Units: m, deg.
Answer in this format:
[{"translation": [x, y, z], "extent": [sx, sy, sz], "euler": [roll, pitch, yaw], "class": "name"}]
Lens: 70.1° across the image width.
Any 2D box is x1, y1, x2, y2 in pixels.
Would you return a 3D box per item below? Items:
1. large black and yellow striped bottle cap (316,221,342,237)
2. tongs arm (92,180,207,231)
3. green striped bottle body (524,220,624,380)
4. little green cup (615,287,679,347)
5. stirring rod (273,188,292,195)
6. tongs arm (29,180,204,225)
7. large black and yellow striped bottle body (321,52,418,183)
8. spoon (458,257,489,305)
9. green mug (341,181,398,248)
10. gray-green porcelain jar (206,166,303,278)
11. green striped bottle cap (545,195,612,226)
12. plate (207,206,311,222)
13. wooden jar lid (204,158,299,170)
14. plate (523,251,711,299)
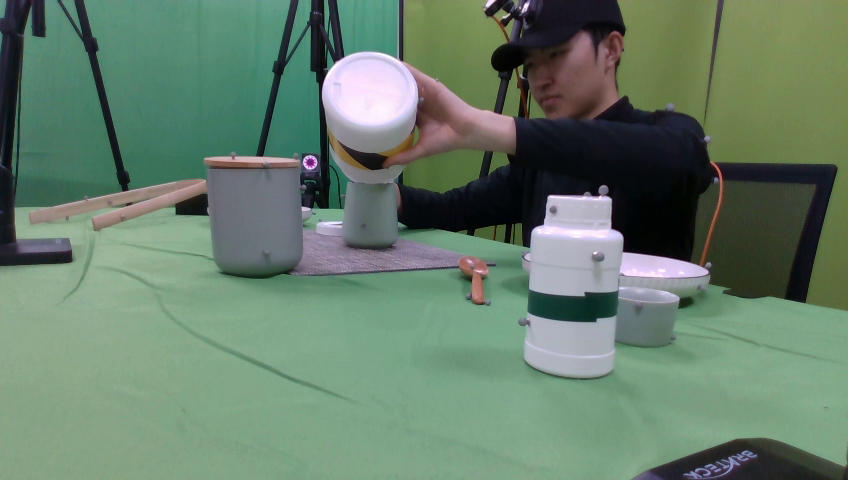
[{"translation": [-0.146, -0.021, 1.147], "extent": [0.115, 0.019, 0.115], "euler": [2, 9, 0], "class": "large black and yellow striped bottle cap"}, {"translation": [-0.534, -0.076, 1.221], "extent": [0.028, 0.028, 0.388], "euler": [-2, 15, 12], "class": "tongs arm"}, {"translation": [0.104, 0.031, 0.422], "extent": [0.063, 0.119, 0.063], "euler": [2, 7, 0], "class": "green striped bottle body"}, {"translation": [0.180, 0.064, 0.506], "extent": [0.061, 0.038, 0.061], "euler": [1, 8, 0], "class": "little green cup"}, {"translation": [-0.354, -0.122, 1.518], "extent": [0.006, 0.014, 0.176], "euler": [2, 6, 1], "class": "stirring rod"}, {"translation": [-0.609, -0.083, 1.245], "extent": [0.050, 0.026, 0.386], "euler": [5, 16, 23], "class": "tongs arm"}, {"translation": [-0.078, -0.167, 0.887], "extent": [0.131, 0.130, 0.184], "euler": [2, -22, -3], "class": "large black and yellow striped bottle body"}, {"translation": [0.059, 0.044, 0.695], "extent": [0.041, 0.021, 0.194], "euler": [19, 7, 1], "class": "spoon"}, {"translation": [-0.090, -0.044, 0.996], "extent": [0.093, 0.105, 0.125], "euler": [1, 7, -10], "class": "green mug"}, {"translation": [-0.201, -0.024, 0.725], "extent": [0.106, 0.126, 0.106], "euler": [-1, 9, 1], "class": "gray-green porcelain jar"}, {"translation": [0.106, -0.020, 0.414], "extent": [0.044, 0.020, 0.044], "euler": [2, 4, 0], "class": "green striped bottle cap"}, {"translation": [-0.342, -0.050, 1.259], "extent": [0.208, 0.039, 0.207], "euler": [2, 7, 0], "class": "plate"}, {"translation": [-0.202, -0.086, 0.714], "extent": [0.108, 0.020, 0.108], "euler": [3, 11, 0], "class": "wooden jar lid"}, {"translation": [0.219, 0.041, 0.706], "extent": [0.209, 0.038, 0.209], "euler": [2, 7, 0], "class": "plate"}]
